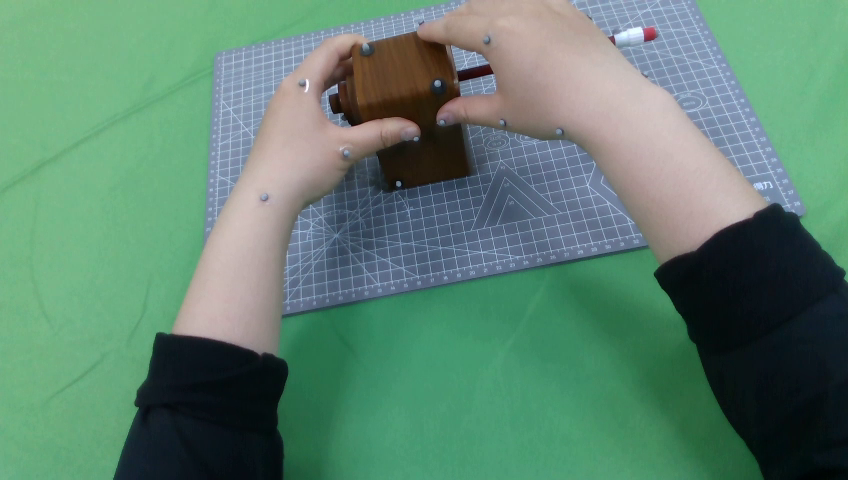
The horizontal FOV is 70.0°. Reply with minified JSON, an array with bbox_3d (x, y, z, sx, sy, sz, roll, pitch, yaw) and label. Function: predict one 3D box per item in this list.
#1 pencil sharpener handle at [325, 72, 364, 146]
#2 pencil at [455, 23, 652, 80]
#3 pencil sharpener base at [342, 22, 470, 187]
[{"bbox_3d":[-0.064,-0.092,0.449,0.030,0.068,0.035,-13,65,3],"label":"pencil sharpener handle"},{"bbox_3d":[0.063,-0.126,0.426,0.194,0.012,0.012,-12,60,4],"label":"pencil"},{"bbox_3d":[-0.012,-0.097,0.457,0.076,0.108,0.061,-13,60,3],"label":"pencil sharpener base"}]
